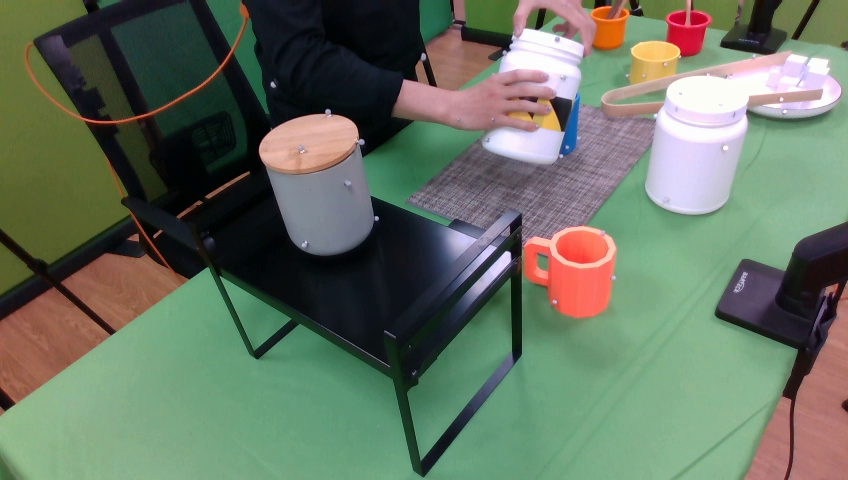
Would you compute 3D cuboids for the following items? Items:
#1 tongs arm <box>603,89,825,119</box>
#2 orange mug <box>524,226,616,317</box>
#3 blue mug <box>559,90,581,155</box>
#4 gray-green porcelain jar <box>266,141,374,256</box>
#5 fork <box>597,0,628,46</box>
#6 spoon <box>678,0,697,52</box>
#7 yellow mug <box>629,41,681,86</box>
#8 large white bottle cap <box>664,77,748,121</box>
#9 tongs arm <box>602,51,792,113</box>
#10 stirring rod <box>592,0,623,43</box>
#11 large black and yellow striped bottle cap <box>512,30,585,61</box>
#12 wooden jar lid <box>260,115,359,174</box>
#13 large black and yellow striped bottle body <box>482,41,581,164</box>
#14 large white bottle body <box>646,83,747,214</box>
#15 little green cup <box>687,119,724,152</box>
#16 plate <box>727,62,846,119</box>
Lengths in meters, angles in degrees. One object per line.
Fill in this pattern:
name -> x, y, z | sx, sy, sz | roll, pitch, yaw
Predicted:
tongs arm -> 0.546, -0.262, 1.162 | 0.386, 0.028, 0.028 | -1, 49, 18
orange mug -> 0.201, 0.039, 0.845 | 0.125, 0.101, 0.083 | 18, 47, 21
blue mug -> 0.233, -0.219, 1.127 | 0.117, 0.106, 0.081 | -22, 43, -16
gray-green porcelain jar -> -0.117, -0.054, 0.703 | 0.106, 0.127, 0.105 | -4, 40, 4
fork -> 0.479, -0.558, 1.455 | 0.028, 0.019, 0.207 | 35, 100, 38
spoon -> 0.614, -0.526, 1.402 | 0.041, 0.022, 0.193 | 3, 86, 11
yellow mug -> 0.495, -0.389, 1.321 | 0.100, 0.064, 0.130 | -14, 40, -6
large white bottle cap -> 0.421, -0.212, 0.905 | 0.115, 0.018, 0.114 | -4, 40, 4
tongs arm -> 0.552, -0.319, 1.224 | 0.384, 0.027, 0.050 | -10, 43, 7
stirring rod -> 0.460, -0.557, 1.461 | 0.014, 0.176, 0.006 | 35, 11, 22
large black and yellow striped bottle cap -> 0.196, -0.307, 0.952 | 0.115, 0.019, 0.114 | 14, 17, -4
wooden jar lid -> -0.124, -0.101, 0.662 | 0.108, 0.021, 0.108 | -4, 41, 4
large black and yellow striped bottle body -> 0.176, -0.227, 0.978 | 0.131, 0.184, 0.130 | 12, 17, -3
large white bottle body -> 0.431, -0.148, 0.959 | 0.130, 0.185, 0.130 | -4, 41, 4
little green cup -> 0.514, -0.191, 1.109 | 0.061, 0.039, 0.061 | -5, 40, 5
plate -> 0.710, -0.292, 1.198 | 0.207, 0.039, 0.206 | -4, 40, 4
